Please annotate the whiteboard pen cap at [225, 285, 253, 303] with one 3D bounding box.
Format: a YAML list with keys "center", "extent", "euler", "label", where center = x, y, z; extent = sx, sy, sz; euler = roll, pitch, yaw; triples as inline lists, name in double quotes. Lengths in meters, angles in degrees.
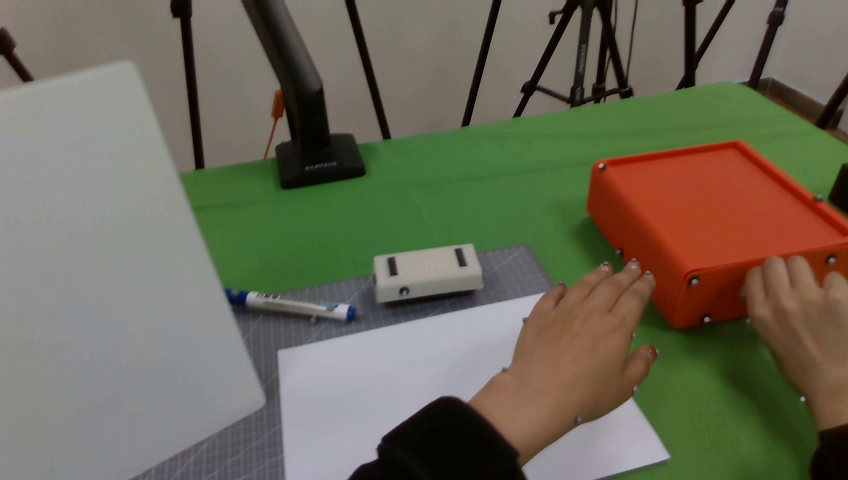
- center: [-0.196, 0.058, 0.638]
  extent: [0.033, 0.018, 0.018]
  euler: [7, 38, 6]
  label: "whiteboard pen cap"

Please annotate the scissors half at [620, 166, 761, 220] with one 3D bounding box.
- center: [0.328, -0.051, 0.760]
  extent: [0.174, 0.040, 0.012]
  euler: [-18, 32, 37]
  label: "scissors half"

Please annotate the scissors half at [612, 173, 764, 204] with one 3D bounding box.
- center: [0.324, -0.061, 0.754]
  extent: [0.174, 0.040, 0.013]
  euler: [-2, 34, 27]
  label: "scissors half"

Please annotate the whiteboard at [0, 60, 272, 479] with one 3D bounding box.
- center: [-0.294, 0.036, 0.496]
  extent: [0.217, 0.307, 0.142]
  euler: [-25, 23, -25]
  label: "whiteboard"

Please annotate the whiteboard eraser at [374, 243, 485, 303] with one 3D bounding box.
- center: [0.005, 0.037, 0.643]
  extent: [0.113, 0.042, 0.055]
  euler: [-8, 35, -6]
  label: "whiteboard eraser"

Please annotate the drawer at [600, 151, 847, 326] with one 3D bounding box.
- center: [0.317, -0.013, 0.659]
  extent: [0.195, 0.074, 0.209]
  euler: [-9, 37, -7]
  label: "drawer"

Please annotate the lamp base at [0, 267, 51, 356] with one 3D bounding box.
- center: [-0.492, 0.020, 0.588]
  extent: [0.178, 0.182, 0.160]
  euler: [13, 40, 24]
  label: "lamp base"

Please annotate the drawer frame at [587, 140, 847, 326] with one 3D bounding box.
- center: [0.316, -0.016, 0.663]
  extent: [0.202, 0.083, 0.211]
  euler: [-10, 37, -8]
  label: "drawer frame"

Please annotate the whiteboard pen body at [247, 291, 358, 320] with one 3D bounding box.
- center: [-0.138, 0.066, 0.629]
  extent: [0.140, 0.017, 0.017]
  euler: [7, 38, 8]
  label: "whiteboard pen body"
